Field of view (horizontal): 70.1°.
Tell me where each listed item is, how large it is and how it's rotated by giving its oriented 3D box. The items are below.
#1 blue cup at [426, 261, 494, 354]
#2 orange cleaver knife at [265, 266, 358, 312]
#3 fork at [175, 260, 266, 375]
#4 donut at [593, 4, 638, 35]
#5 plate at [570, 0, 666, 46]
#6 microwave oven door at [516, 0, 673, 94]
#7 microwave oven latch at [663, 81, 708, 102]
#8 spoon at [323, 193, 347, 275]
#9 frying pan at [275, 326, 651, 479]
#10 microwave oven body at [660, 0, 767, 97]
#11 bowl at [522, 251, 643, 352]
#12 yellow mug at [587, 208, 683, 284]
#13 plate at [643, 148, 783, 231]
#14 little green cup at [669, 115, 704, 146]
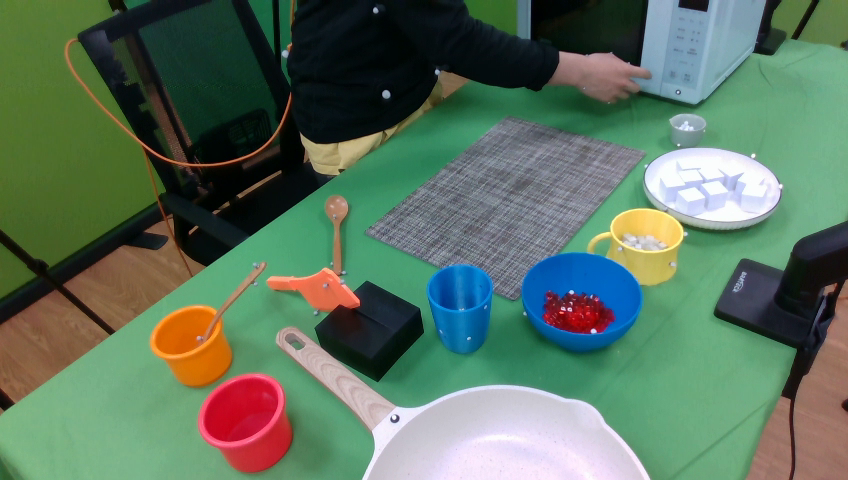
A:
[{"bbox_3d":[0.049,0.095,0.791,0.092,0.100,0.092,-3,42,3],"label":"blue cup"},{"bbox_3d":[-0.165,0.073,0.864,0.210,0.077,0.012,-6,31,50],"label":"orange cleaver knife"},{"bbox_3d":[-0.268,0.103,0.792,0.207,0.019,0.028,-51,41,16],"label":"fork"},{"bbox_3d":[0.428,-0.493,1.352,0.099,0.048,0.098,-7,42,7],"label":"donut"},{"bbox_3d":[0.436,-0.487,1.368,0.209,0.038,0.208,-4,40,4],"label":"plate"},{"bbox_3d":[0.344,-0.458,1.257,0.353,0.245,0.039,26,52,33],"label":"microwave oven door"},{"bbox_3d":[0.518,-0.299,1.202,0.078,0.029,0.030,30,53,36],"label":"microwave oven latch"},{"bbox_3d":[-0.148,-0.014,1.008,0.042,0.021,0.192,4,39,-12],"label":"spoon"},{"bbox_3d":[0.004,0.229,0.641,0.484,0.103,0.308,34,54,28],"label":"frying pan"},{"bbox_3d":[0.473,-0.516,1.313,0.438,0.261,0.327,26,51,34],"label":"microwave oven body"},{"bbox_3d":[0.204,0.093,0.792,0.151,0.077,0.150,-4,40,4],"label":"bowl"},{"bbox_3d":[0.305,0.009,0.884,0.131,0.064,0.099,-4,41,5],"label":"yellow mug"},{"bbox_3d":[0.464,-0.080,0.986,0.207,0.039,0.206,-4,40,4],"label":"plate"},{"bbox_3d":[0.486,-0.203,1.123,0.061,0.039,0.061,-6,37,5],"label":"little green cup"}]
